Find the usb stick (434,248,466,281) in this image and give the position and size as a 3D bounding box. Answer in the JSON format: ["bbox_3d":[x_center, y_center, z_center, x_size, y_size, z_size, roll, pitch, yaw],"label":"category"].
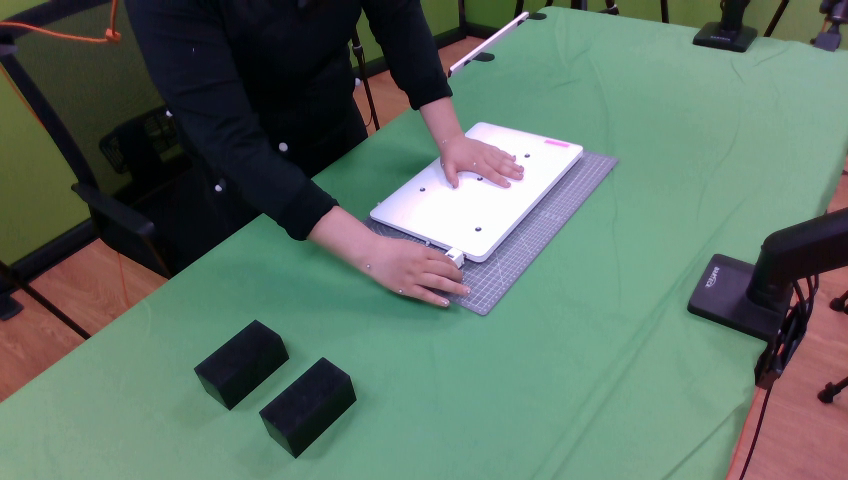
[{"bbox_3d":[0.043,0.032,0.911,0.021,0.027,0.059,29,54,33],"label":"usb stick"}]

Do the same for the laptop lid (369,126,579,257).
[{"bbox_3d":[0.098,-0.104,1.066,0.239,0.013,0.358,21,47,34],"label":"laptop lid"}]

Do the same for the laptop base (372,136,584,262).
[{"bbox_3d":[0.101,-0.096,1.071,0.233,0.023,0.355,19,46,34],"label":"laptop base"}]
